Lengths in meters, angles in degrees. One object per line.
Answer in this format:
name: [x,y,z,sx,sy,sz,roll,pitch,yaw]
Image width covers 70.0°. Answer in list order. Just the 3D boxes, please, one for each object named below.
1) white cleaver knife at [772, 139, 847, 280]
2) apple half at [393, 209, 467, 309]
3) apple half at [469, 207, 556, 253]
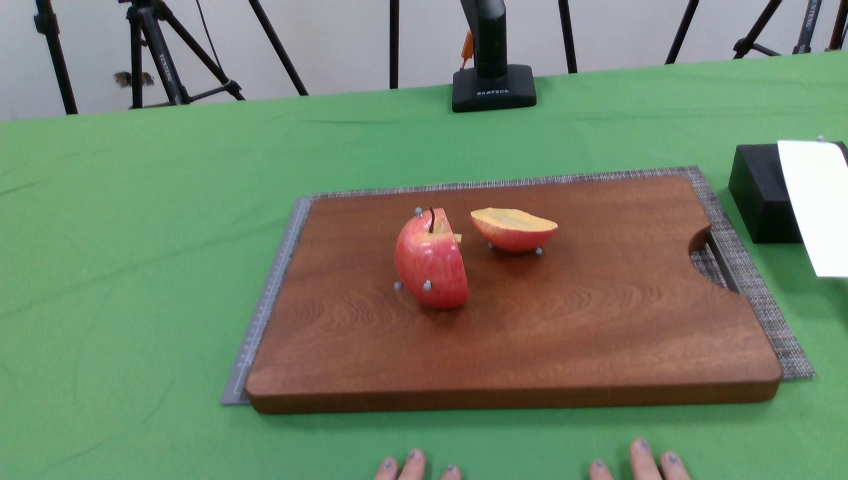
white cleaver knife: [0.351,0.013,0.504,0.066,0.022,0.284,-3,49,13]
apple half: [0.002,0.020,0.511,0.053,0.075,0.080,-16,42,-3]
apple half: [0.076,-0.005,0.555,0.081,0.033,0.081,6,18,-2]
